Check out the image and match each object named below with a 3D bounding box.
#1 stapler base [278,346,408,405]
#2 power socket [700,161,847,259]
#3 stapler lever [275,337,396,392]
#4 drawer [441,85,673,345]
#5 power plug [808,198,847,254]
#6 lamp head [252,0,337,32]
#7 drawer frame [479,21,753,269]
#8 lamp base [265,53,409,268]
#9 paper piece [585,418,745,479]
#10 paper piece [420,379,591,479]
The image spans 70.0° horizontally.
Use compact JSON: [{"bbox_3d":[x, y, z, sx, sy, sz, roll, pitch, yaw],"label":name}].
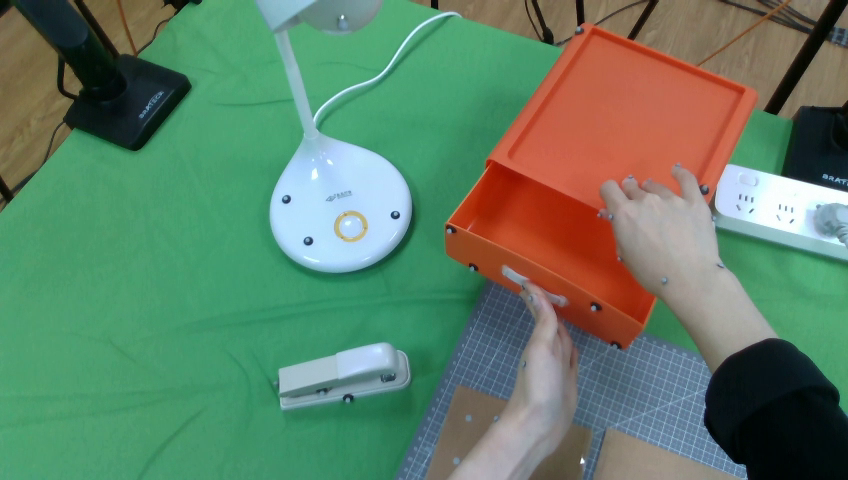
[{"bbox_3d":[-0.082,0.130,0.596,0.130,0.024,0.041,-10,59,-2],"label":"stapler base"},{"bbox_3d":[0.413,-0.028,0.658,0.226,0.033,0.072,16,65,9],"label":"power socket"},{"bbox_3d":[-0.085,0.118,0.573,0.118,0.040,0.026,-10,59,-1],"label":"stapler lever"},{"bbox_3d":[0.152,-0.036,0.593,0.193,0.074,0.211,28,67,16],"label":"drawer"},{"bbox_3d":[0.412,-0.012,0.624,0.035,0.053,0.072,27,67,14],"label":"power plug"},{"bbox_3d":[-0.074,-0.199,0.350,0.112,0.112,0.123,-36,105,-16],"label":"lamp head"},{"bbox_3d":[0.193,-0.098,0.622,0.200,0.083,0.213,28,66,15],"label":"drawer frame"},{"bbox_3d":[-0.106,-0.086,0.619,0.161,0.182,0.177,-28,62,-13],"label":"lamp base"},{"bbox_3d":[0.205,0.246,0.533,0.135,0.004,0.135,21,65,12],"label":"paper piece"},{"bbox_3d":[0.070,0.211,0.555,0.135,0.009,0.137,16,66,13],"label":"paper piece"}]
